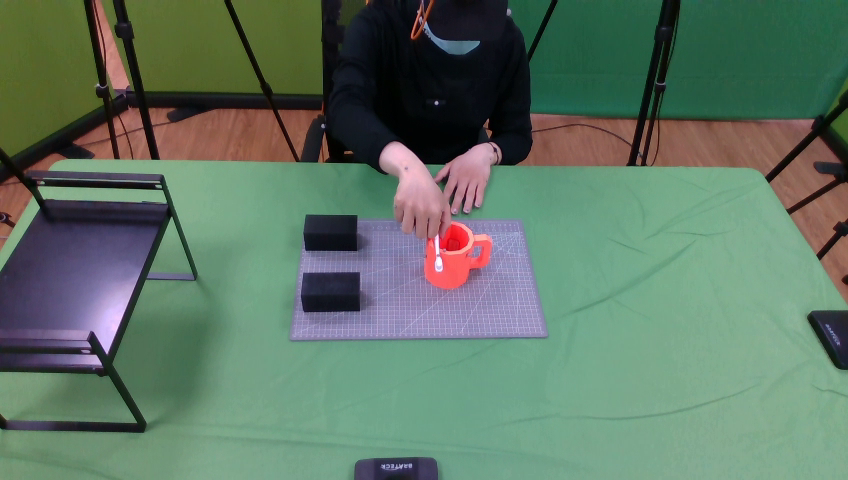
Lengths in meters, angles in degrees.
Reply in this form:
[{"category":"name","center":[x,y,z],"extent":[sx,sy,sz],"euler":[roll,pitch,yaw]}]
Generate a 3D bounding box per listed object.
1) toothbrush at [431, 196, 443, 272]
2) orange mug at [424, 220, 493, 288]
[{"category":"toothbrush","center":[0.022,-0.016,1.081],"extent":[0.014,0.017,0.180],"euler":[-4,47,1]},{"category":"orange mug","center":[0.063,0.023,1.119],"extent":[0.126,0.101,0.083],"euler":[-9,47,-7]}]
